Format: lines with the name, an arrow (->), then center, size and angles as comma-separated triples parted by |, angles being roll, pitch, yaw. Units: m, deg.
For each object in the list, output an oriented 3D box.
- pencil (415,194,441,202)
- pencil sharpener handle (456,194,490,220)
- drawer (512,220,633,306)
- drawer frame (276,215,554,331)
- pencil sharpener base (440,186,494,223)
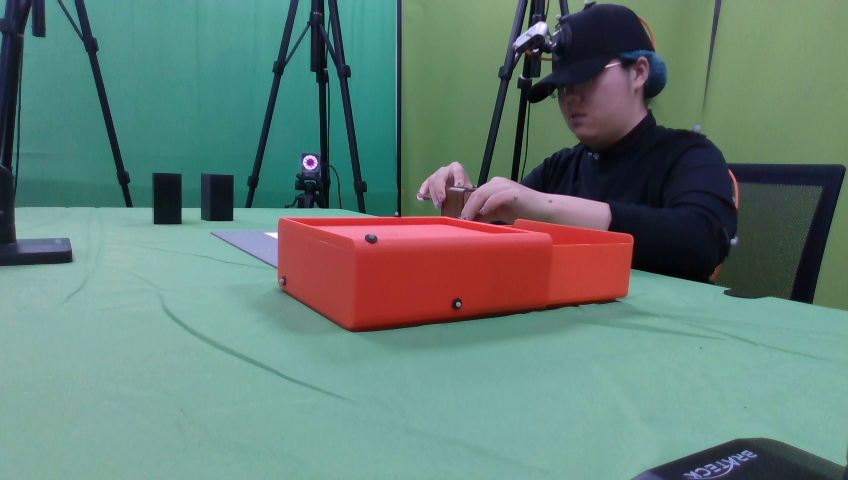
pencil -> 0.034, -0.070, 1.056 | 0.012, 0.012, 0.193 | -1, 7, -30
pencil sharpener handle -> 0.083, -0.046, 0.935 | 0.068, 0.036, 0.030 | -28, 20, -23
drawer -> 0.085, 0.022, 0.674 | 0.213, 0.073, 0.193 | -2, 9, -32
drawer frame -> -0.015, 0.022, 0.610 | 0.215, 0.082, 0.200 | -2, 9, -32
pencil sharpener base -> 0.070, -0.032, 0.989 | 0.061, 0.107, 0.076 | -1, 8, -29
